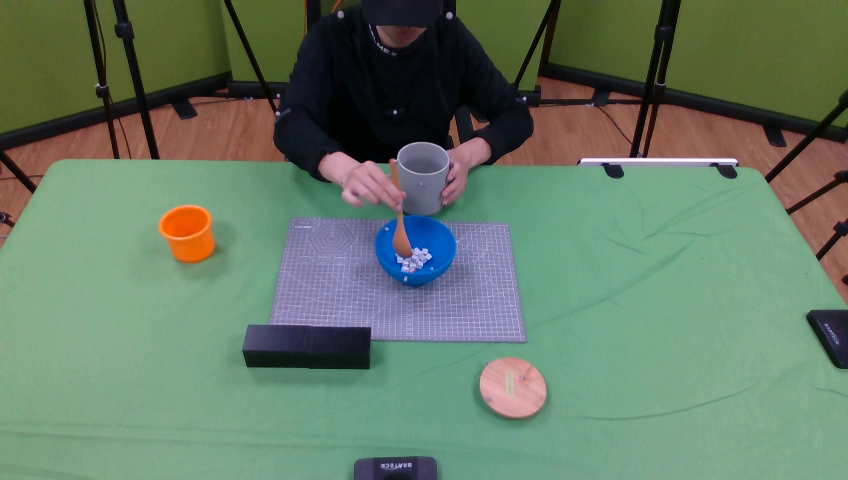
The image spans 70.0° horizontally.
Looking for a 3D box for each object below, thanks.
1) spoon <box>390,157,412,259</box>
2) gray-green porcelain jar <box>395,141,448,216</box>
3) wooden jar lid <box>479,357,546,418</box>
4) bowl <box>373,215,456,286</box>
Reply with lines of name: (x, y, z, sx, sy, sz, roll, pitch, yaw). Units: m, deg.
spoon: (-0.044, -0.052, 1.048, 0.041, 0.194, 0.021, 12, 28, 30)
gray-green porcelain jar: (-0.007, -0.120, 1.241, 0.106, 0.127, 0.105, 2, 46, -2)
wooden jar lid: (0.142, 0.240, 0.979, 0.108, 0.021, 0.107, 1, 46, -1)
bowl: (-0.019, 0.032, 1.123, 0.151, 0.077, 0.150, 2, 46, -2)
